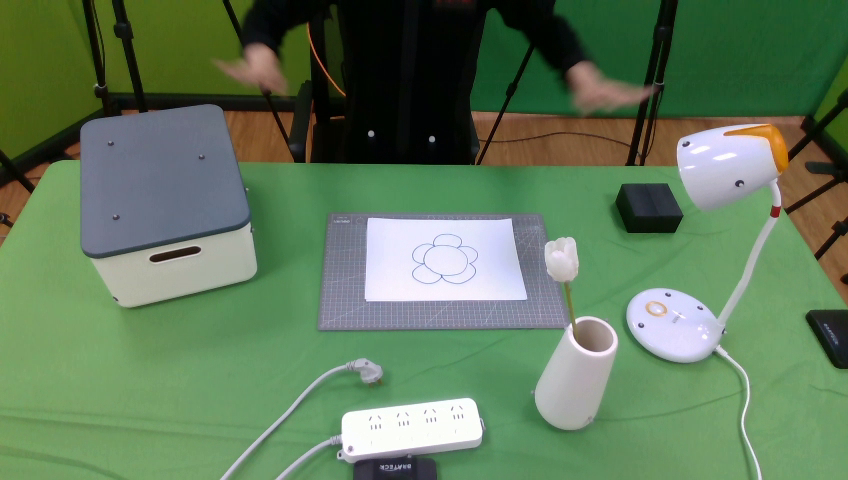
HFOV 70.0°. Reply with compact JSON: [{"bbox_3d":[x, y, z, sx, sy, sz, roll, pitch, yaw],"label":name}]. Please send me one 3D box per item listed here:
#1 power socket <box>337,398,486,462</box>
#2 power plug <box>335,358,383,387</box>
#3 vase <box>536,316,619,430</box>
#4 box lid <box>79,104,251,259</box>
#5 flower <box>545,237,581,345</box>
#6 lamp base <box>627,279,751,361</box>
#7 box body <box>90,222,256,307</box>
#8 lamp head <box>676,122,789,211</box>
[{"bbox_3d":[-0.018,0.285,0.914,0.227,0.033,0.071,-4,46,-8],"label":"power socket"},{"bbox_3d":[-0.099,0.213,0.977,0.072,0.053,0.035,-3,30,32],"label":"power plug"},{"bbox_3d":[0.229,0.200,0.901,0.098,0.201,0.097,3,46,-3],"label":"vase"},{"bbox_3d":[-0.467,-0.120,1.076,0.264,0.015,0.369,-13,49,-17],"label":"box lid"},{"bbox_3d":[0.213,0.137,0.846,0.038,0.364,0.044,20,54,39],"label":"flower"},{"bbox_3d":[0.460,0.100,1.027,0.178,0.181,0.160,27,51,17],"label":"lamp base"},{"bbox_3d":[-0.471,-0.070,1.131,0.254,0.161,0.361,-14,49,-17],"label":"box body"},{"bbox_3d":[0.423,-0.104,0.819,0.122,0.113,0.112,-13,33,40],"label":"lamp head"}]
